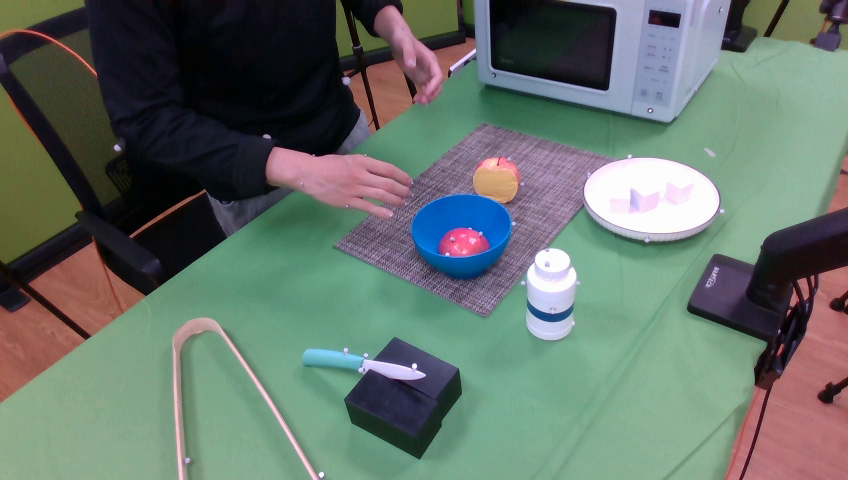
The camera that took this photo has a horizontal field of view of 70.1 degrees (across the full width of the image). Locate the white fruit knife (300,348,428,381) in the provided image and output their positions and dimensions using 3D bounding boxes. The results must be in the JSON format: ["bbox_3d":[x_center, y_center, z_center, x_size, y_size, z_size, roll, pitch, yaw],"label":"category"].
[{"bbox_3d":[-0.080,0.154,0.748,0.206,0.027,0.016,0,20,34],"label":"white fruit knife"}]

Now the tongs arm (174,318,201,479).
[{"bbox_3d":[-0.272,0.234,0.723,0.051,0.026,0.381,-19,40,-14],"label":"tongs arm"}]

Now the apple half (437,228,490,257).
[{"bbox_3d":[0.056,0.002,0.901,0.081,0.033,0.081,-3,41,3],"label":"apple half"}]

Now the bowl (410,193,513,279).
[{"bbox_3d":[0.058,0.005,0.905,0.151,0.077,0.150,-4,40,4],"label":"bowl"}]

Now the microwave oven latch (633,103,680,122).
[{"bbox_3d":[0.444,-0.249,1.157,0.078,0.029,0.030,21,49,30],"label":"microwave oven latch"}]

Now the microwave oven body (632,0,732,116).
[{"bbox_3d":[0.377,-0.463,1.267,0.438,0.261,0.327,21,49,30],"label":"microwave oven body"}]

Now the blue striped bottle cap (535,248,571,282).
[{"bbox_3d":[0.161,0.031,0.753,0.044,0.021,0.044,-4,42,4],"label":"blue striped bottle cap"}]

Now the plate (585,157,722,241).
[{"bbox_3d":[0.367,-0.063,0.979,0.207,0.039,0.206,-4,40,4],"label":"plate"}]

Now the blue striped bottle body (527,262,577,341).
[{"bbox_3d":[0.165,0.070,0.786,0.063,0.121,0.063,-4,41,4],"label":"blue striped bottle body"}]

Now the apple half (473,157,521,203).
[{"bbox_3d":[0.128,-0.107,1.030,0.080,0.075,0.053,4,38,19],"label":"apple half"}]

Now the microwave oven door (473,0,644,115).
[{"bbox_3d":[0.257,-0.396,1.199,0.353,0.245,0.039,21,48,29],"label":"microwave oven door"}]

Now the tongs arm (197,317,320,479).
[{"bbox_3d":[-0.199,0.206,0.750,0.028,0.028,0.384,-31,45,-22],"label":"tongs arm"}]
